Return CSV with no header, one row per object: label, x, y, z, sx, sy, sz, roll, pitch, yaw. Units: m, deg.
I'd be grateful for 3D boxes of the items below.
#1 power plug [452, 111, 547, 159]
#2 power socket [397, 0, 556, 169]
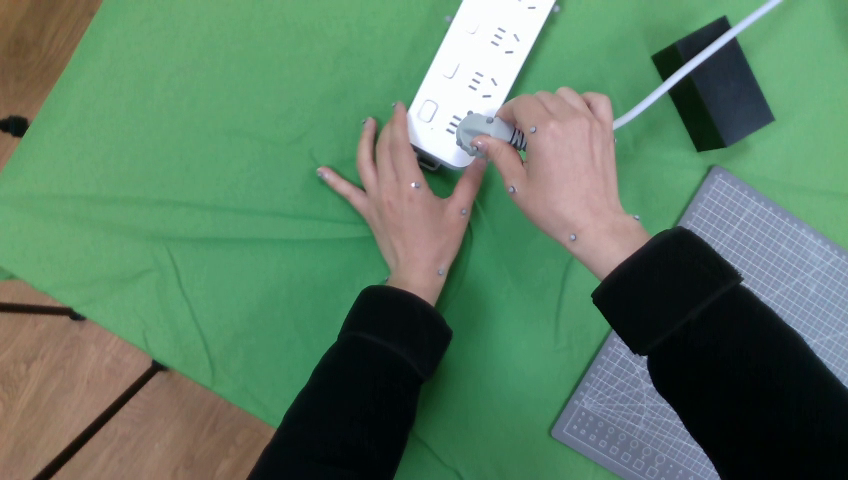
power plug,0.054,-0.074,0.488,0.073,0.052,0.035,40,71,-8
power socket,0.052,-0.167,0.532,0.072,0.032,0.226,28,91,-7
